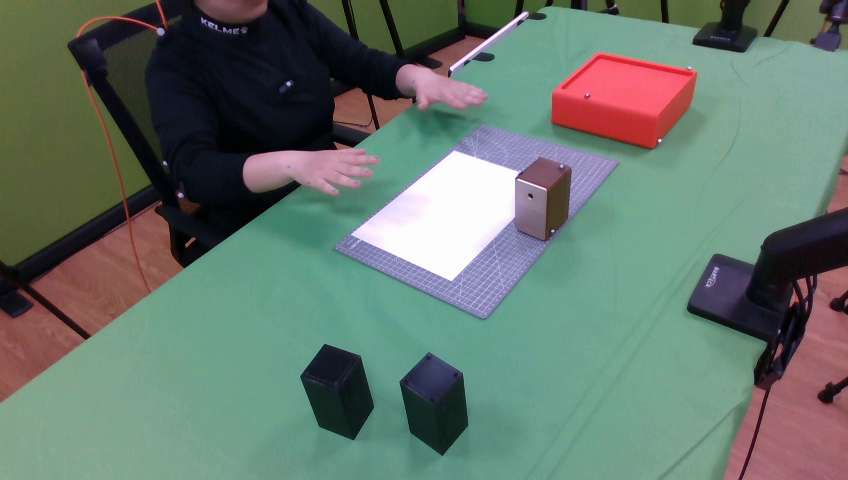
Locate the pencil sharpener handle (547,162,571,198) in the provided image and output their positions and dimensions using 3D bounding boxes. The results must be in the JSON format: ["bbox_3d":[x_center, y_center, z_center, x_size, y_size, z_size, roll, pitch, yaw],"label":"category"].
[{"bbox_3d":[0.221,-0.101,0.968,0.035,0.068,0.031,19,46,37],"label":"pencil sharpener handle"}]

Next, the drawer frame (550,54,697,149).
[{"bbox_3d":[0.391,-0.280,1.194,0.212,0.083,0.202,23,48,30],"label":"drawer frame"}]

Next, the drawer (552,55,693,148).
[{"bbox_3d":[0.389,-0.278,1.196,0.210,0.073,0.195,24,49,31],"label":"drawer"}]

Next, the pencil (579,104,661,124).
[{"bbox_3d":[0.395,-0.255,1.212,0.195,0.012,0.012,-14,40,-17],"label":"pencil"}]

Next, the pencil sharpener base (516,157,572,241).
[{"bbox_3d":[0.189,-0.065,0.948,0.061,0.107,0.077,24,49,33],"label":"pencil sharpener base"}]
